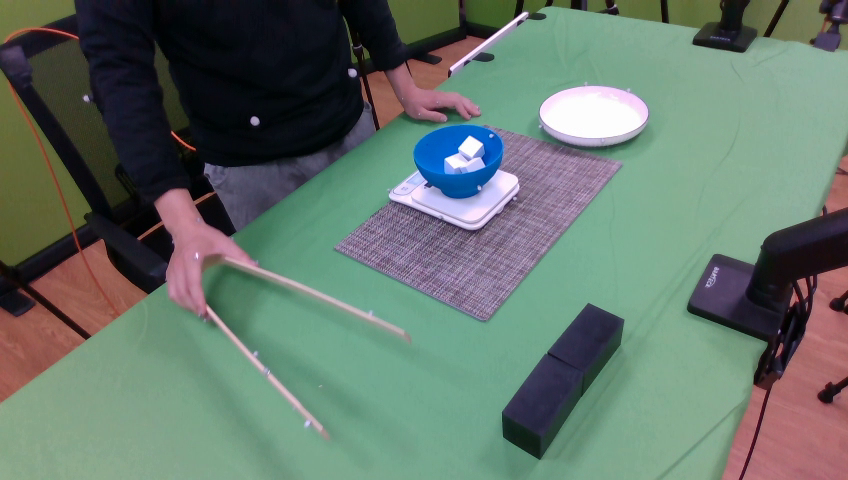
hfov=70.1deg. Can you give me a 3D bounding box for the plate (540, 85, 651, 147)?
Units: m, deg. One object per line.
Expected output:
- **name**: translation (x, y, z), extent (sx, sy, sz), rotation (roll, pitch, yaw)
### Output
- **plate**: translation (0.333, -0.238, 1.185), extent (0.207, 0.039, 0.206), rotation (-4, 41, 4)

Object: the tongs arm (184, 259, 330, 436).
- **tongs arm**: translation (-0.223, 0.123, 0.786), extent (0.381, 0.027, 0.051), rotation (29, 66, 38)

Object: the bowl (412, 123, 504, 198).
- **bowl**: translation (0.059, -0.123, 1.007), extent (0.151, 0.077, 0.150), rotation (-5, 41, 5)

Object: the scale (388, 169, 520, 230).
- **scale**: translation (0.050, -0.090, 1.051), extent (0.199, 0.032, 0.149), rotation (24, 49, 31)

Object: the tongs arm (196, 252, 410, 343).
- **tongs arm**: translation (-0.176, 0.072, 0.815), extent (0.384, 0.028, 0.028), rotation (16, 62, 32)
